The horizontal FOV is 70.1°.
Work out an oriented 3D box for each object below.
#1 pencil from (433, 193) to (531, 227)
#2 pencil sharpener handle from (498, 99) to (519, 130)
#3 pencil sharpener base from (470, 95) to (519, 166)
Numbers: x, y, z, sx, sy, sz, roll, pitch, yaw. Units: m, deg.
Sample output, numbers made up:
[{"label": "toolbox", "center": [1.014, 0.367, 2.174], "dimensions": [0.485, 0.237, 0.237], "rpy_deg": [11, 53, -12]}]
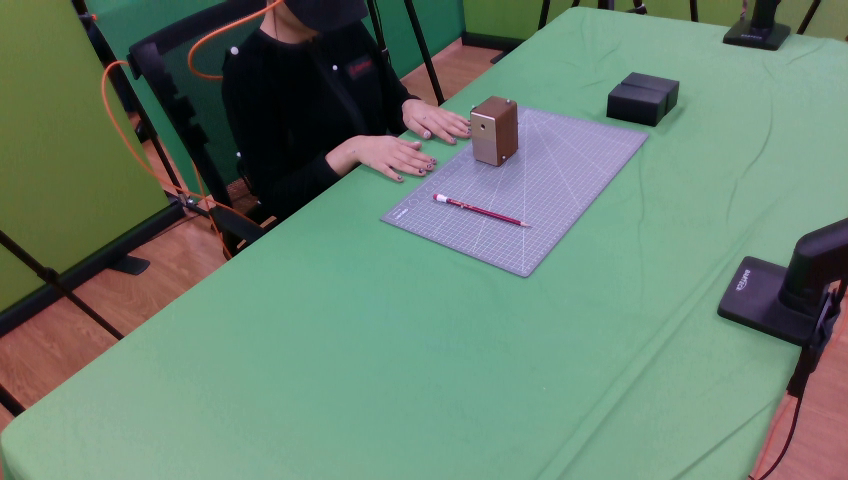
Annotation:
[{"label": "pencil", "center": [0.096, -0.050, 1.028], "dimensions": [0.192, 0.012, 0.012], "rpy_deg": [20, 49, 29]}, {"label": "pencil sharpener handle", "center": [0.165, -0.243, 1.148], "dimensions": [0.035, 0.068, 0.031], "rpy_deg": [21, 49, 35]}, {"label": "pencil sharpener base", "center": [0.134, -0.205, 1.128], "dimensions": [0.061, 0.107, 0.077], "rpy_deg": [23, 50, 33]}]
